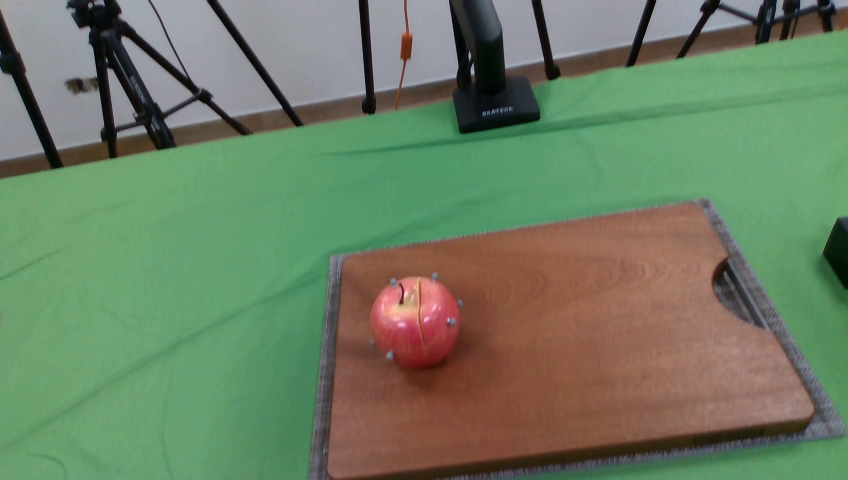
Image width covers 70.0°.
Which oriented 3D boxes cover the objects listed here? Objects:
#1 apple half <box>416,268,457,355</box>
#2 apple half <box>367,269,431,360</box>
[{"bbox_3d":[0.015,0.066,0.556,0.033,0.082,0.080,-9,44,8],"label":"apple half"},{"bbox_3d":[-0.024,0.072,0.560,0.053,0.075,0.080,-11,48,9],"label":"apple half"}]
